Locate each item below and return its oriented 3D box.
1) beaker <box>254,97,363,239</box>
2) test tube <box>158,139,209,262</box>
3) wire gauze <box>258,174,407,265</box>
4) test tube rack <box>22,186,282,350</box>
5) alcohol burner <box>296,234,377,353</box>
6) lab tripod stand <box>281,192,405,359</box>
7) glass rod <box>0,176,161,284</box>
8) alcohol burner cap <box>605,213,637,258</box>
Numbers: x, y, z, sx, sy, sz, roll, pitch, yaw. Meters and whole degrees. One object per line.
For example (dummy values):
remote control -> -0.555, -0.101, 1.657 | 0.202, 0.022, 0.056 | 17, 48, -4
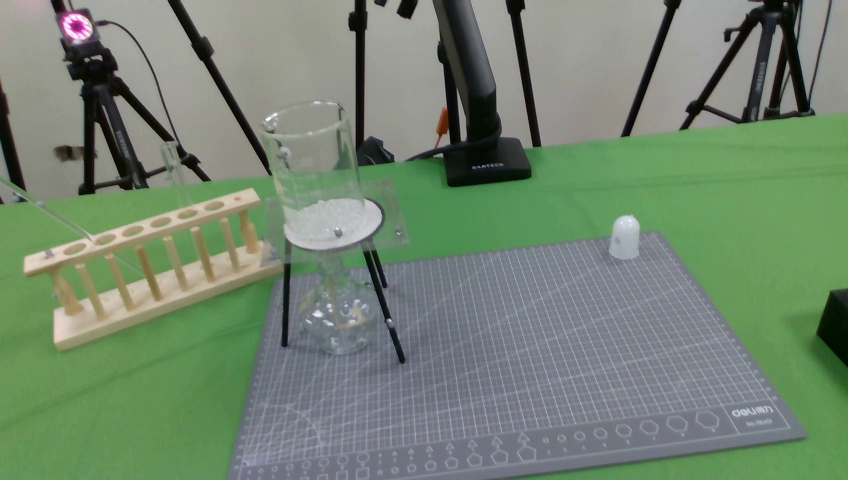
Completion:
beaker -> -0.094, -0.059, 0.507 | 0.083, 0.101, 0.074 | 11, 37, 26
test tube -> -0.266, -0.040, 0.674 | 0.017, 0.151, 0.017 | -4, 31, 3
wire gauze -> -0.084, -0.019, 0.536 | 0.125, 0.011, 0.120 | -13, 32, -3
test tube rack -> -0.292, 0.025, 0.671 | 0.243, 0.086, 0.066 | -21, 36, -20
alcohol burner -> -0.085, 0.047, 0.573 | 0.078, 0.120, 0.077 | -5, 32, 3
lab tripod stand -> -0.077, 0.034, 0.573 | 0.148, 0.133, 0.147 | -5, 36, 4
glass rod -> -0.355, -0.006, 0.628 | 0.008, 0.202, 0.008 | -23, 43, 23
alcohol burner cap -> 0.218, -0.008, 0.668 | 0.034, 0.048, 0.033 | -4, 34, 3
